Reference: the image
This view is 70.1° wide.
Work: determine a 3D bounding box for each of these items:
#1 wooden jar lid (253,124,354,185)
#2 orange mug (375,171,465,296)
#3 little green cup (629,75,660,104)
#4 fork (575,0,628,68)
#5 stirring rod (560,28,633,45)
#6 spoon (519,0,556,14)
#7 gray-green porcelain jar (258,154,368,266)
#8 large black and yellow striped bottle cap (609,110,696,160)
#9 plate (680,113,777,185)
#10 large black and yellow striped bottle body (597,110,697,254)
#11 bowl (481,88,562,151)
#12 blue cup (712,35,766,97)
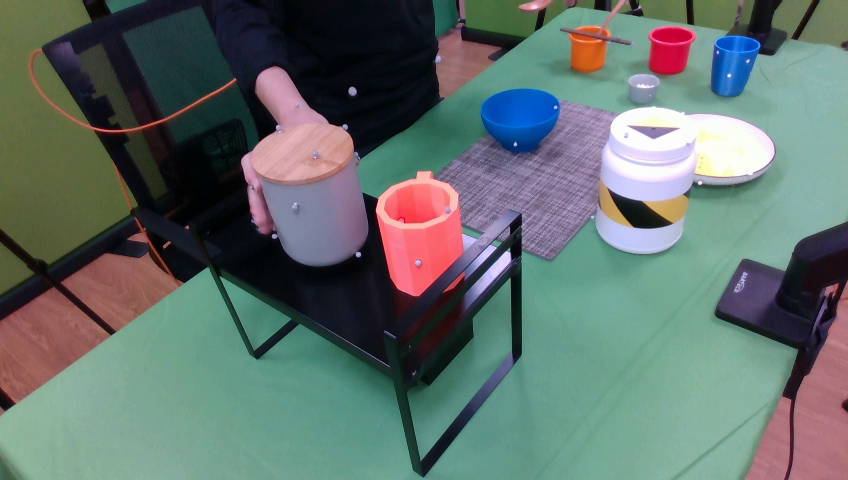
[{"bbox_3d":[-0.128,-0.089,0.650,0.108,0.021,0.108,-3,41,3],"label":"wooden jar lid"},{"bbox_3d":[-0.001,-0.016,0.662,0.083,0.101,0.125,-2,45,8],"label":"orange mug"},{"bbox_3d":[0.458,-0.314,1.260,0.061,0.039,0.061,-4,40,4],"label":"little green cup"},{"bbox_3d":[0.413,-0.481,1.377,0.207,0.019,0.028,-57,43,12],"label":"fork"},{"bbox_3d":[0.381,-0.453,1.345,0.174,0.006,0.014,26,52,33],"label":"stirring rod"},{"bbox_3d":[0.254,-0.434,1.036,0.193,0.022,0.041,-27,31,8],"label":"spoon"},{"bbox_3d":[-0.122,-0.042,0.690,0.106,0.127,0.105,-4,40,4],"label":"gray-green porcelain jar"},{"bbox_3d":[0.319,-0.149,0.849,0.115,0.019,0.114,-4,39,3],"label":"large black and yellow striped bottle cap"},{"bbox_3d":[0.506,-0.158,1.073,0.209,0.038,0.208,-5,40,4],"label":"plate"},{"bbox_3d":[0.331,-0.086,0.903,0.131,0.185,0.130,-5,41,4],"label":"large black and yellow striped bottle body"},{"bbox_3d":[0.187,-0.223,1.161,0.151,0.077,0.150,-4,40,4],"label":"bowl"},{"bbox_3d":[0.627,-0.350,1.227,0.092,0.100,0.092,-4,39,4],"label":"blue cup"}]
